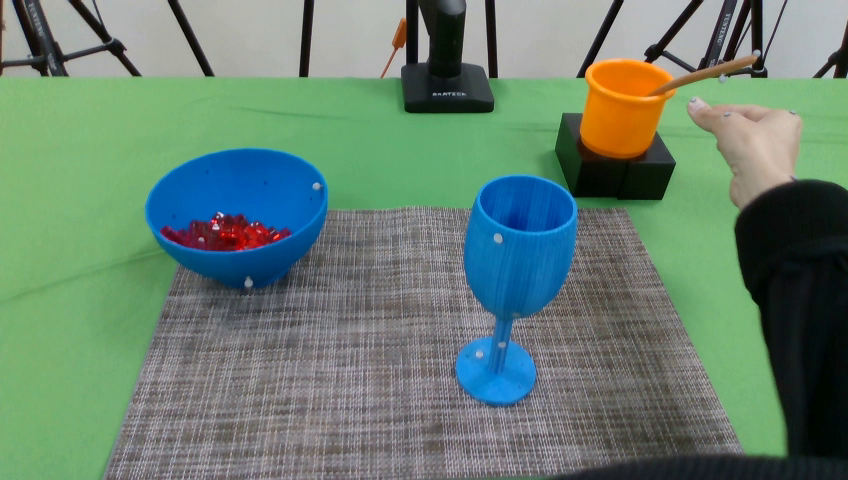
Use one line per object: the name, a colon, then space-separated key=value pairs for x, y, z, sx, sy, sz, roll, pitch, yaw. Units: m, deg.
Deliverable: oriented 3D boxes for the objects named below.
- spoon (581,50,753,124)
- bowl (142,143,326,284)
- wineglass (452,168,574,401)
spoon: x=0.230 y=-0.149 z=0.600 sx=0.041 sy=0.193 sz=0.022 roll=-33 pitch=97 yaw=-29
bowl: x=-0.162 y=-0.014 z=0.543 sx=0.151 sy=0.077 sz=0.150 roll=2 pitch=42 yaw=-1
wineglass: x=0.058 y=0.038 z=0.429 sx=0.074 sy=0.174 sz=0.073 roll=2 pitch=42 yaw=-1
